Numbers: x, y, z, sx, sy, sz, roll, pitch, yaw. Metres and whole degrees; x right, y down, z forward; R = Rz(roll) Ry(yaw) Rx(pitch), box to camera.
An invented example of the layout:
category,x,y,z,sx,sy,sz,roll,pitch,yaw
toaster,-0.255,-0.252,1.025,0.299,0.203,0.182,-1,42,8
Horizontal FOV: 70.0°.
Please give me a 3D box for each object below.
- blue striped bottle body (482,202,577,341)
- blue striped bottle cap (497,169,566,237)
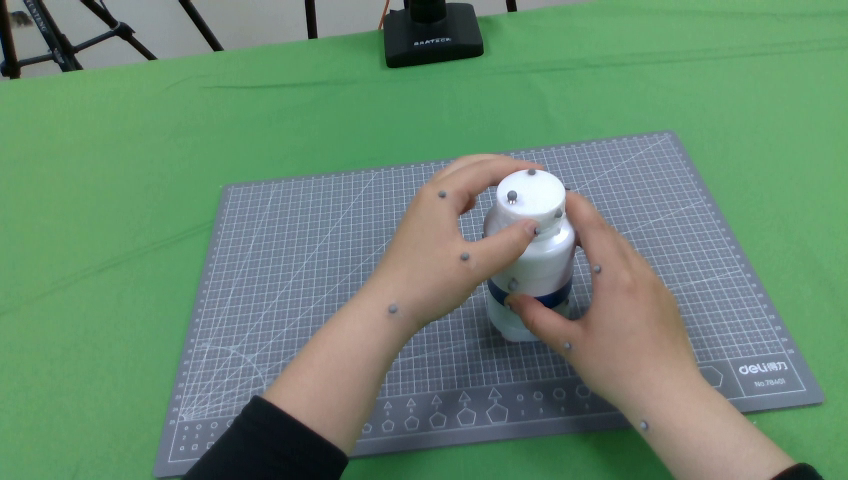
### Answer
category,x,y,z,sx,sy,sz,roll,pitch,yaw
blue striped bottle body,0.073,0.013,0.424,0.063,0.122,0.062,-4,47,5
blue striped bottle cap,0.068,-0.024,0.384,0.044,0.021,0.044,-6,46,6
